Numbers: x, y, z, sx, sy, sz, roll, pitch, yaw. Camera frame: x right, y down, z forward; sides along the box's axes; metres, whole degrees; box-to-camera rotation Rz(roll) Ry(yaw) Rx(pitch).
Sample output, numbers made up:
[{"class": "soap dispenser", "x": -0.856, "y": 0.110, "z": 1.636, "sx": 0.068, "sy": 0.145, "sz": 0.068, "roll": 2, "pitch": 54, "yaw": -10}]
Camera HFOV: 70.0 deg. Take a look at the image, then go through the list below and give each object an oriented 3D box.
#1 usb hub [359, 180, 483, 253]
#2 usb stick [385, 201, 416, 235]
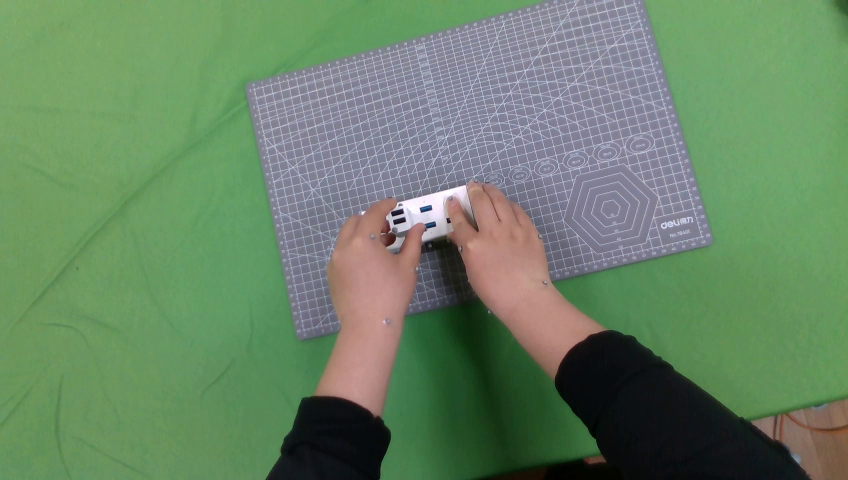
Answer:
[{"class": "usb hub", "x": -0.003, "y": -0.026, "z": 0.646, "sx": 0.125, "sy": 0.025, "sz": 0.049, "roll": -14, "pitch": 82, "yaw": 5}, {"class": "usb stick", "x": -0.023, "y": -0.021, "z": 0.618, "sx": 0.021, "sy": 0.059, "sz": 0.027, "roll": -18, "pitch": 79, "yaw": 4}]
